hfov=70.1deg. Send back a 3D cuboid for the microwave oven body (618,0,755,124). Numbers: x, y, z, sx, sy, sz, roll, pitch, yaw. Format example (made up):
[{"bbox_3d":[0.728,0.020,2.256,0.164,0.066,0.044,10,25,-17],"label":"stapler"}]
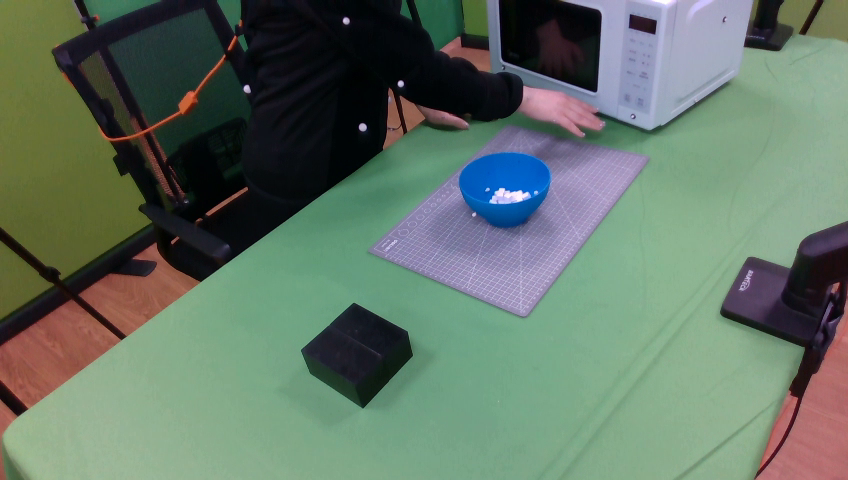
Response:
[{"bbox_3d":[0.402,-0.458,1.259,0.327,0.261,0.437,-33,45,-24],"label":"microwave oven body"}]

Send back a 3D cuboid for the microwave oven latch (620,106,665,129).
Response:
[{"bbox_3d":[0.413,-0.237,1.146,0.030,0.029,0.078,-32,44,-23],"label":"microwave oven latch"}]

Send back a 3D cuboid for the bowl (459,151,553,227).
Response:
[{"bbox_3d":[0.136,-0.074,1.000,0.151,0.077,0.150,-5,39,5],"label":"bowl"}]

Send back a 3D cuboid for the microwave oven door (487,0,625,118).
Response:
[{"bbox_3d":[0.262,-0.409,1.221,0.039,0.245,0.352,-33,45,-25],"label":"microwave oven door"}]
